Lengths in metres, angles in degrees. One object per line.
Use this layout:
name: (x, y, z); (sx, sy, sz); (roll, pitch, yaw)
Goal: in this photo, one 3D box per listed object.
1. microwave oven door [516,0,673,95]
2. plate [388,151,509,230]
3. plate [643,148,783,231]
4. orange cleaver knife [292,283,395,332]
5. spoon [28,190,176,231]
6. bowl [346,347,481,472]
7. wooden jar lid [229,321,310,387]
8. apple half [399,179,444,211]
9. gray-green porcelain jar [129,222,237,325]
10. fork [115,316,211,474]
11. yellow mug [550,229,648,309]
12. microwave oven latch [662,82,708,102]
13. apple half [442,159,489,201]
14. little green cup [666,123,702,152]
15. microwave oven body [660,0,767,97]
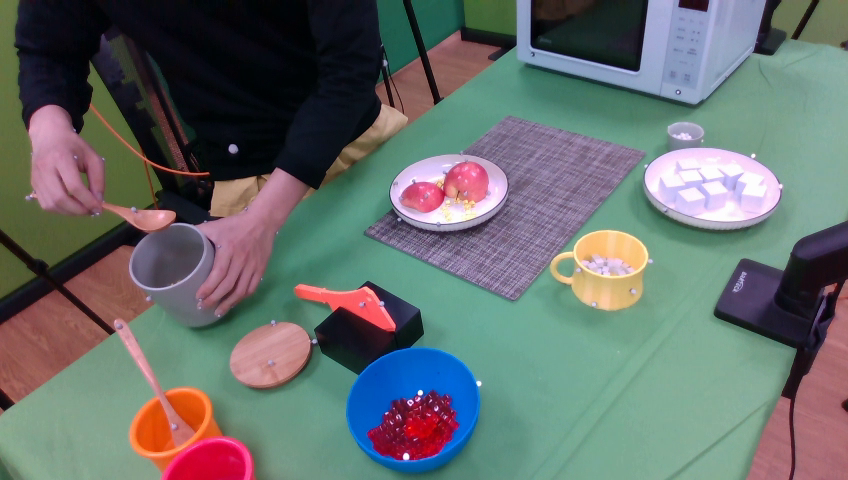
microwave oven door: (0.344, -0.458, 1.256); (0.353, 0.245, 0.039); (26, 51, 33)
plate: (0.043, -0.082, 1.042); (0.209, 0.038, 0.208); (-4, 40, 4)
plate: (0.464, -0.079, 0.986); (0.207, 0.039, 0.206); (-4, 40, 4)
orange cleaver knife: (-0.115, 0.092, 0.835); (0.209, 0.077, 0.012); (1, 32, 48)
spoon: (-0.409, -0.043, 0.768); (0.194, 0.021, 0.041); (14, 45, 1)
bowl: (-0.008, 0.205, 0.691); (0.151, 0.077, 0.150); (-4, 40, 4)
wooden jar lid: (-0.207, 0.156, 0.820); (0.108, 0.021, 0.108); (-3, 39, 3)
apple half: (-0.004, -0.087, 1.045); (0.081, 0.033, 0.081); (-2, 43, 2)
gray-green porcelain jar: (-0.329, 0.053, 0.845); (0.106, 0.127, 0.105); (-3, 57, 5)
fork: (-0.308, 0.179, 0.708); (0.028, 0.018, 0.207); (-30, 89, -23)
yellow mug: (0.245, 0.040, 0.857); (0.130, 0.064, 0.099); (1, 42, 11)
microwave oven latch: (0.517, -0.298, 1.202); (0.078, 0.029, 0.030); (26, 52, 34)
apple half: (0.074, -0.110, 1.047); (0.080, 0.053, 0.075); (21, 45, 30)
little green cup: (0.472, -0.183, 1.102); (0.061, 0.039, 0.061); (-5, 41, 5)
microwave oven body: (0.473, -0.517, 1.314); (0.438, 0.261, 0.327); (26, 51, 34)
